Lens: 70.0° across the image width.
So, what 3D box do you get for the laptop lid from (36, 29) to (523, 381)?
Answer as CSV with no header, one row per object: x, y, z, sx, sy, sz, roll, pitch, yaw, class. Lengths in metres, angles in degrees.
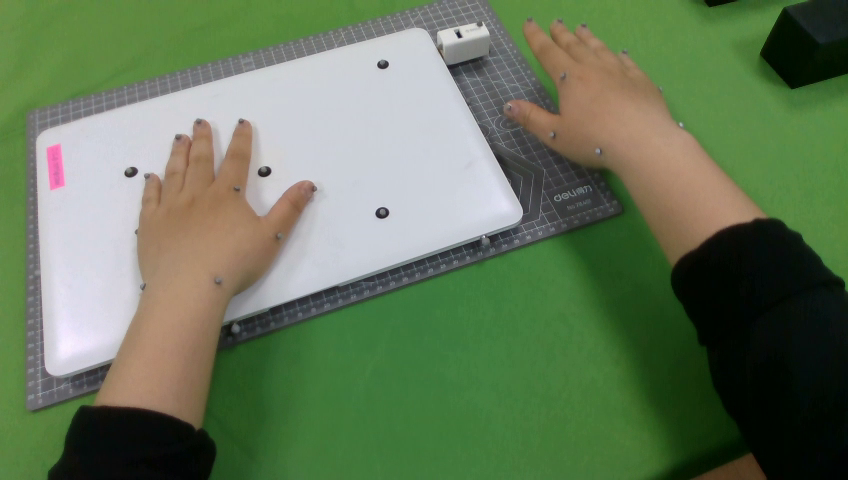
-0.126,-0.051,0.484,0.357,0.013,0.239,-17,61,-8,laptop lid

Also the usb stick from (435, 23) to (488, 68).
0.027,-0.176,0.553,0.059,0.027,0.021,-19,58,-5,usb stick

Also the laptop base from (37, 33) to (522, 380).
-0.126,-0.047,0.495,0.355,0.023,0.233,-19,62,-9,laptop base
